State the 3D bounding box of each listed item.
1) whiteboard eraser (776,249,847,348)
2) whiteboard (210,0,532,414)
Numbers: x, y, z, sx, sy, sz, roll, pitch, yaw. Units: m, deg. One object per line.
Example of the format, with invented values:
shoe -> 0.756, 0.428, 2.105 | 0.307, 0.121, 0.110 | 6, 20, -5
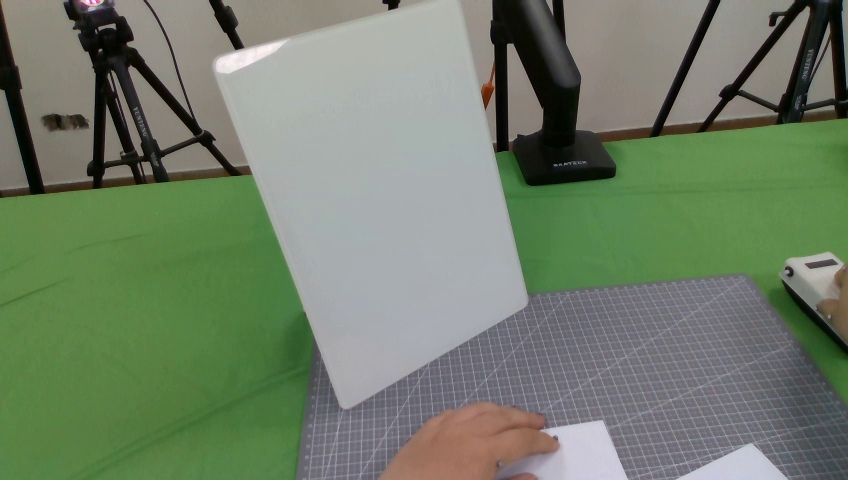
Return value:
whiteboard eraser -> 0.389, 0.056, 0.566 | 0.055, 0.042, 0.111 | -12, 38, -4
whiteboard -> -0.053, -0.041, 0.570 | 0.217, 0.307, 0.142 | -25, 21, -24
